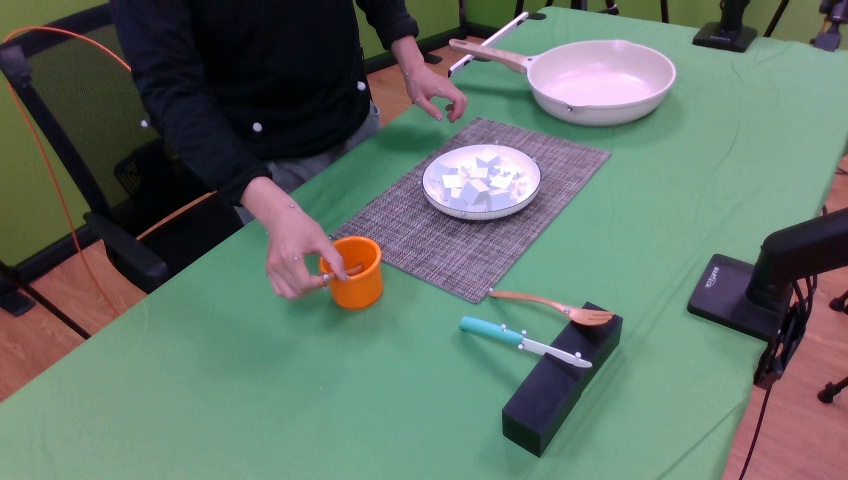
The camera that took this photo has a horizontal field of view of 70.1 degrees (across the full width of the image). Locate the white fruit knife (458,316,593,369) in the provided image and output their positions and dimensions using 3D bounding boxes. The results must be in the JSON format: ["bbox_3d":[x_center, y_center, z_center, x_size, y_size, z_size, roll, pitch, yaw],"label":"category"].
[{"bbox_3d":[0.120,0.127,0.757,0.205,0.027,0.016,12,44,43],"label":"white fruit knife"}]

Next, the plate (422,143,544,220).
[{"bbox_3d":[0.102,-0.097,1.048,0.207,0.039,0.206,-4,40,4],"label":"plate"}]

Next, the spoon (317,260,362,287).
[{"bbox_3d":[-0.117,0.048,0.824,0.041,0.194,0.021,-44,84,7],"label":"spoon"}]

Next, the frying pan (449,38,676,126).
[{"bbox_3d":[0.272,-0.362,1.287,0.485,0.103,0.307,23,48,19],"label":"frying pan"}]

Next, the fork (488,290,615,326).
[{"bbox_3d":[0.160,0.086,0.800,0.205,0.019,0.028,12,46,48],"label":"fork"}]
